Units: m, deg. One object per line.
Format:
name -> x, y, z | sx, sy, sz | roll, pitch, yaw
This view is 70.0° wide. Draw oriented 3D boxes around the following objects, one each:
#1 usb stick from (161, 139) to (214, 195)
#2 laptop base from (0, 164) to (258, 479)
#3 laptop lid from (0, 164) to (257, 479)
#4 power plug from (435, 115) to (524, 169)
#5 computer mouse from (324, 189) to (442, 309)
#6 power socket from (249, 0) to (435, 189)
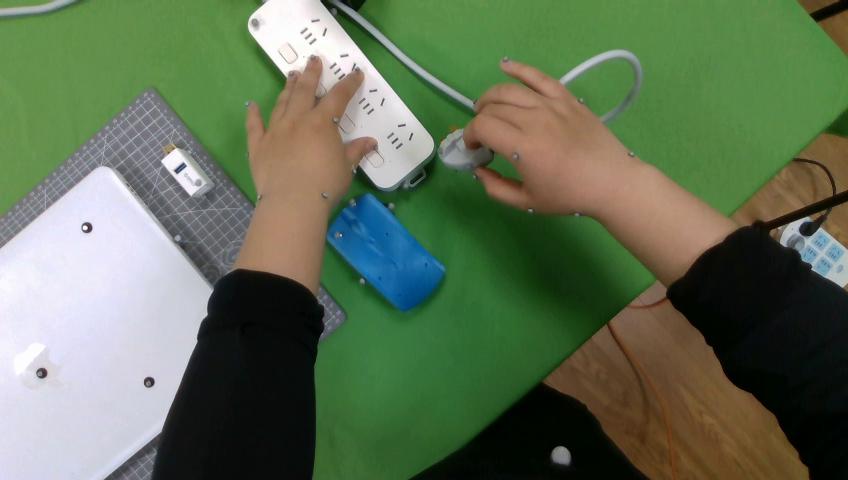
usb stick -> -0.231, -0.072, 0.582 | 0.021, 0.027, 0.059 | -39, 87, 3
laptop base -> -0.366, 0.122, 0.594 | 0.354, 0.023, 0.236 | -40, 93, 1
laptop lid -> -0.365, 0.124, 0.583 | 0.356, 0.013, 0.242 | -38, 92, 2
power plug -> 0.045, -0.086, 0.514 | 0.072, 0.035, 0.052 | -29, 49, -7
computer mouse -> -0.040, 0.008, 0.577 | 0.063, 0.041, 0.117 | -45, 85, 3
power socket -> -0.077, -0.147, 0.577 | 0.072, 0.032, 0.226 | -39, 90, 3
